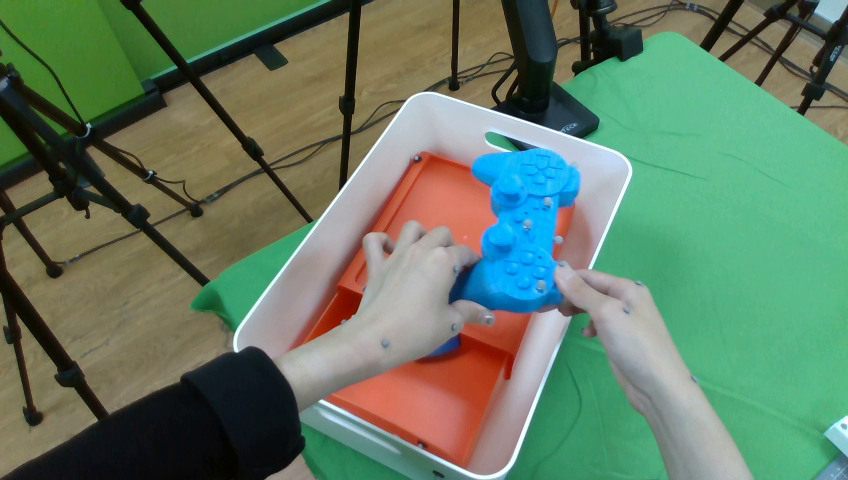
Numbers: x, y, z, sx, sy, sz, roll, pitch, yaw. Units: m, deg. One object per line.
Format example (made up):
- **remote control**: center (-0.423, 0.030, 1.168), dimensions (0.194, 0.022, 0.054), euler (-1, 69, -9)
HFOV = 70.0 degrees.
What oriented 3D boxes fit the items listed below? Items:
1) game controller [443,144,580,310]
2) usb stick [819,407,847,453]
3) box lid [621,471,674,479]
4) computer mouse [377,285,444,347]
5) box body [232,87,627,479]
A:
- **game controller**: center (0.075, -0.015, 0.500), dimensions (0.097, 0.052, 0.154), euler (9, 64, 9)
- **usb stick**: center (0.421, 0.195, 0.590), dimensions (0.021, 0.027, 0.058), euler (-28, 63, -22)
- **box lid**: center (0.169, 0.396, 0.482), dimensions (0.263, 0.015, 0.367), euler (-16, 58, -8)
- **computer mouse**: center (-0.013, 0.077, 0.666), dimensions (0.063, 0.041, 0.116), euler (-4, 17, 9)
- **box body**: center (0.023, 0.044, 0.627), dimensions (0.253, 0.162, 0.362), euler (22, 60, 15)
